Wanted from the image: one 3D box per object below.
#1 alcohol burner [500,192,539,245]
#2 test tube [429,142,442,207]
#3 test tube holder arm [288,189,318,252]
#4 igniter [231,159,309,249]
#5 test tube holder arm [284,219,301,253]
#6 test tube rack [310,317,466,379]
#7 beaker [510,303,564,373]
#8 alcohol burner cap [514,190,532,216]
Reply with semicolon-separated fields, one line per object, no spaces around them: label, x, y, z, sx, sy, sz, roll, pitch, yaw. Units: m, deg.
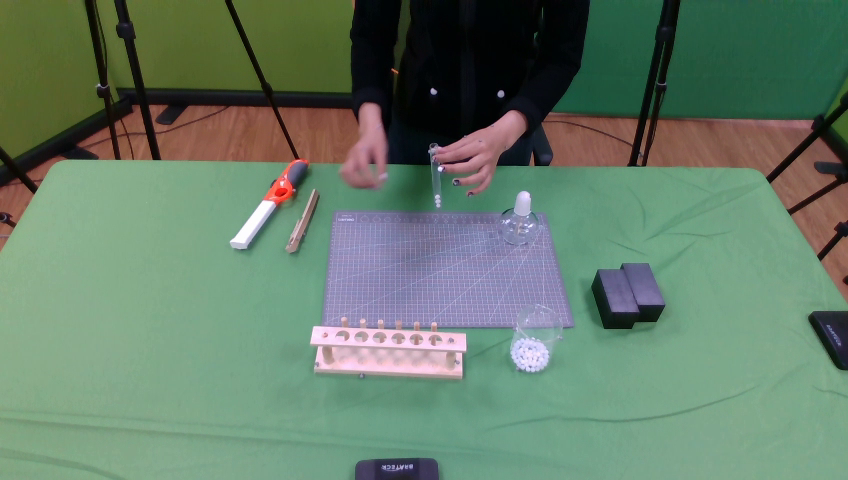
alcohol burner;0.190;-0.048;1.190;0.078;0.120;0.077;1;47;-1
test tube;0.022;-0.115;1.096;0.017;0.151;0.017;-3;48;3
test tube holder arm;-0.242;-0.043;1.223;0.013;0.015;0.177;-14;39;25
igniter;-0.313;-0.082;1.251;0.057;0.025;0.275;8;45;18
test tube holder arm;-0.254;-0.010;1.194;0.010;0.015;0.087;-14;39;26
test tube rack;-0.056;0.171;0.986;0.242;0.085;0.066;3;45;-1
beaker;0.182;0.164;1.000;0.074;0.101;0.083;2;46;-1
alcohol burner cap;0.192;-0.074;1.166;0.034;0.048;0.033;2;41;-1
